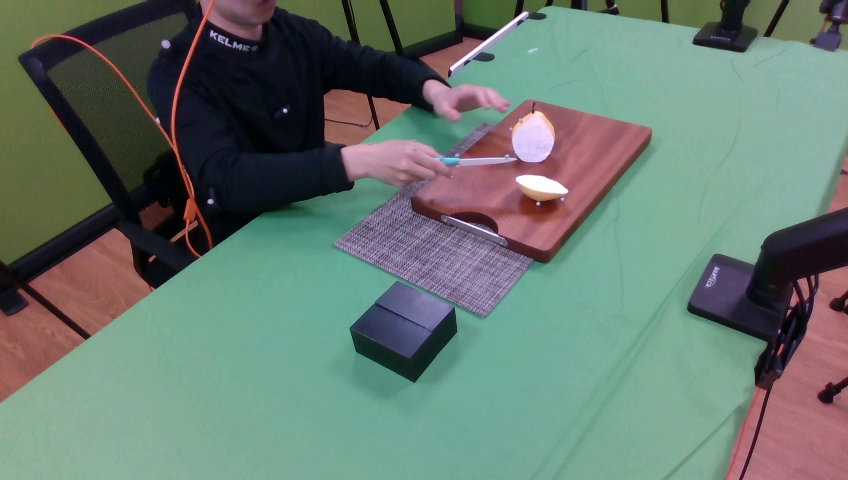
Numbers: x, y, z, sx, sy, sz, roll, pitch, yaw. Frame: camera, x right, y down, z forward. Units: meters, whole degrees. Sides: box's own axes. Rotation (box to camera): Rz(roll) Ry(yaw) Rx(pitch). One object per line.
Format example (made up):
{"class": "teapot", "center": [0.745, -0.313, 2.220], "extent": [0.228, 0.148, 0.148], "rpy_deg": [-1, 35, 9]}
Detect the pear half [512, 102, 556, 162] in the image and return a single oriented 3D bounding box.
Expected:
{"class": "pear half", "center": [0.193, -0.197, 1.060], "extent": [0.076, 0.110, 0.056], "rpy_deg": [3, 41, 6]}

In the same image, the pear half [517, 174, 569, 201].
{"class": "pear half", "center": [0.191, -0.081, 0.982], "extent": [0.087, 0.031, 0.071], "rpy_deg": [30, 39, 28]}

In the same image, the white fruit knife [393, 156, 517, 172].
{"class": "white fruit knife", "center": [0.047, -0.127, 0.986], "extent": [0.207, 0.027, 0.016], "rpy_deg": [-3, 68, 10]}
